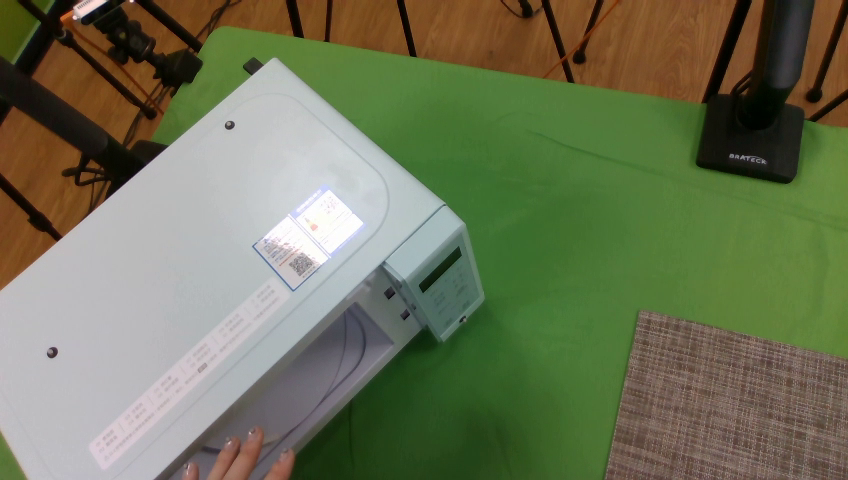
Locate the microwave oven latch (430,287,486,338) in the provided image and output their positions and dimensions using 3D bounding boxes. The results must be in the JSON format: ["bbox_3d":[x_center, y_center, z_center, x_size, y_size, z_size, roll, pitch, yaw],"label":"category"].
[{"bbox_3d":[0.041,0.083,0.749,0.079,0.030,0.030,-42,67,-8],"label":"microwave oven latch"}]

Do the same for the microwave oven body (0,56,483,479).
[{"bbox_3d":[-0.203,0.076,0.690,0.441,0.262,0.323,-44,67,-8],"label":"microwave oven body"}]
